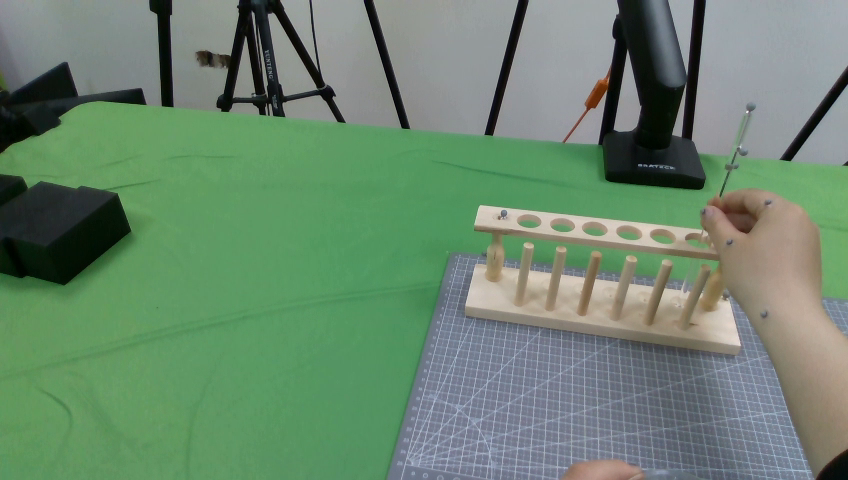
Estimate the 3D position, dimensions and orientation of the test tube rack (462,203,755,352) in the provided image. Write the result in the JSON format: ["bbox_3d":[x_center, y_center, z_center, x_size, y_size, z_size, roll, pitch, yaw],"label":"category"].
[{"bbox_3d":[0.161,0.032,0.553,0.242,0.086,0.066,7,38,9],"label":"test tube rack"}]

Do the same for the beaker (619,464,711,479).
[{"bbox_3d":[0.120,0.181,0.322,0.084,0.101,0.073,-2,36,-7],"label":"beaker"}]

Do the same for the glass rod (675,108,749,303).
[{"bbox_3d":[0.239,-0.019,0.509,0.008,0.201,0.008,0,39,1],"label":"glass rod"}]
